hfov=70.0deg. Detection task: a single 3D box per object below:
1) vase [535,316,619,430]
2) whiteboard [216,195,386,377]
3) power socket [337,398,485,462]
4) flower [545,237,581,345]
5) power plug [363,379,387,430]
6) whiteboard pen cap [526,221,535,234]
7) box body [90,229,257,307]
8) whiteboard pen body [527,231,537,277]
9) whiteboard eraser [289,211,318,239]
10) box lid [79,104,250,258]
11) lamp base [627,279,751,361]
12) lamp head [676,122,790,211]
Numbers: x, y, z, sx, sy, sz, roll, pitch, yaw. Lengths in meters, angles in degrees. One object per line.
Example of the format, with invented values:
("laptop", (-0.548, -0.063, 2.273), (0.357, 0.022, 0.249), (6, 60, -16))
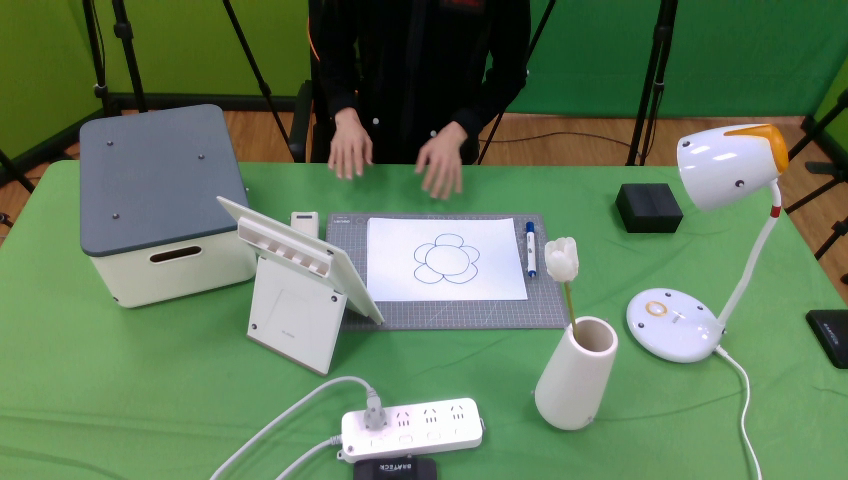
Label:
("vase", (0.229, 0.200, 0.901), (0.098, 0.201, 0.097), (3, 46, -3))
("whiteboard", (-0.212, 0.094, 0.938), (0.216, 0.307, 0.143), (24, 70, 17))
("power socket", (-0.018, 0.285, 0.914), (0.227, 0.033, 0.071), (-4, 46, -8))
("flower", (0.213, 0.137, 0.846), (0.038, 0.364, 0.044), (21, 55, 40))
("power plug", (-0.071, 0.252, 0.911), (0.035, 0.053, 0.072), (3, 40, 0))
("whiteboard pen cap", (0.216, -0.022, 1.234), (0.018, 0.018, 0.033), (6, 44, 1))
("box body", (-0.471, -0.070, 1.131), (0.254, 0.161, 0.361), (-14, 49, -17))
("whiteboard pen body", (0.211, 0.018, 1.191), (0.017, 0.017, 0.140), (6, 44, 2))
("whiteboard eraser", (-0.234, -0.007, 1.172), (0.055, 0.042, 0.112), (-3, 47, -5))
("box lid", (-0.467, -0.121, 1.075), (0.264, 0.015, 0.369), (-13, 49, -17))
("lamp base", (0.460, 0.100, 1.027), (0.178, 0.181, 0.160), (27, 51, 17))
("lamp head", (0.423, -0.104, 0.819), (0.122, 0.113, 0.112), (-13, 33, 40))
